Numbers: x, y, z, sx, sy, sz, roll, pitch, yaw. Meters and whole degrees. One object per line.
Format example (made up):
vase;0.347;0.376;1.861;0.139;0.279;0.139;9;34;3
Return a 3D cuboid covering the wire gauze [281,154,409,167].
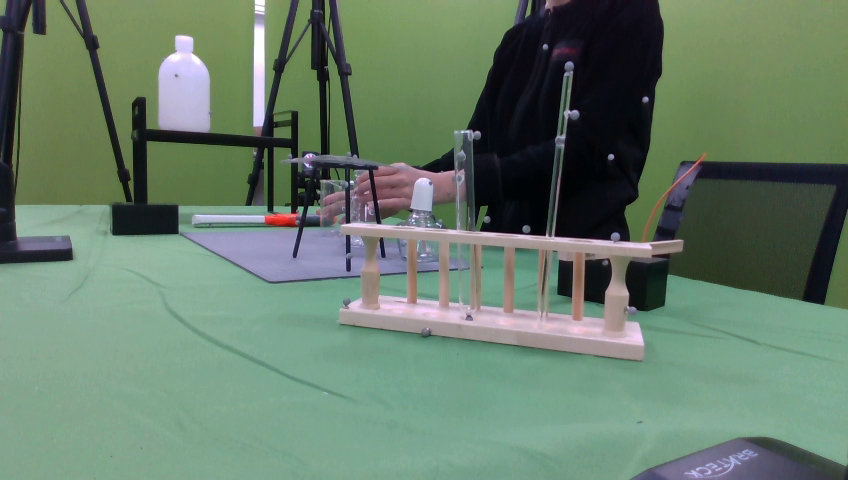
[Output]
wire gauze;-0.104;-0.104;0.784;0.126;0.011;0.121;-2;8;-38

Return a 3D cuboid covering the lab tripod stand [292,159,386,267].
lab tripod stand;-0.104;-0.039;0.797;0.148;0.131;0.148;2;5;0

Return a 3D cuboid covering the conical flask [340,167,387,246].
conical flask;-0.095;-0.055;0.964;0.075;0.122;0.075;2;8;0

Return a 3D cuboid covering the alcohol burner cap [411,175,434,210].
alcohol burner cap;0.000;-0.067;0.842;0.034;0.048;0.034;7;8;-1

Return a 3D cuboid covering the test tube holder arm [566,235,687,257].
test tube holder arm;0.215;0.006;0.630;0.179;0.015;0.013;-3;9;-31

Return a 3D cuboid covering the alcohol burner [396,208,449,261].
alcohol burner;-0.002;-0.031;0.846;0.078;0.119;0.078;0;6;0

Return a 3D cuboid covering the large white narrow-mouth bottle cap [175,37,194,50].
large white narrow-mouth bottle cap;-0.501;-0.410;1.264;0.038;0.024;0.037;2;7;0

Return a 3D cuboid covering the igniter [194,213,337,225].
igniter;-0.306;-0.041;1.197;0.278;0.025;0.057;-2;-2;-30

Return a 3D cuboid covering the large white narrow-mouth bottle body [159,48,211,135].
large white narrow-mouth bottle body;-0.503;-0.323;1.275;0.102;0.194;0.102;2;7;0

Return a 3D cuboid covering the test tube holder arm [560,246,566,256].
test tube holder arm;0.173;0.007;0.612;0.088;0.015;0.010;-3;9;-30

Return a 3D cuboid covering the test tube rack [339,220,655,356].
test tube rack;0.056;0.032;0.495;0.242;0.085;0.067;4;7;15

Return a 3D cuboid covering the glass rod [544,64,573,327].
glass rod;0.101;-0.028;0.453;0.008;0.199;0.008;2;13;0

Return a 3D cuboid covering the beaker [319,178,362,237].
beaker;-0.148;-0.058;1.069;0.074;0.100;0.084;1;8;-8

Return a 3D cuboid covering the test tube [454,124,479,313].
test tube;0.034;-0.015;0.477;0.017;0.150;0.017;-2;9;1
